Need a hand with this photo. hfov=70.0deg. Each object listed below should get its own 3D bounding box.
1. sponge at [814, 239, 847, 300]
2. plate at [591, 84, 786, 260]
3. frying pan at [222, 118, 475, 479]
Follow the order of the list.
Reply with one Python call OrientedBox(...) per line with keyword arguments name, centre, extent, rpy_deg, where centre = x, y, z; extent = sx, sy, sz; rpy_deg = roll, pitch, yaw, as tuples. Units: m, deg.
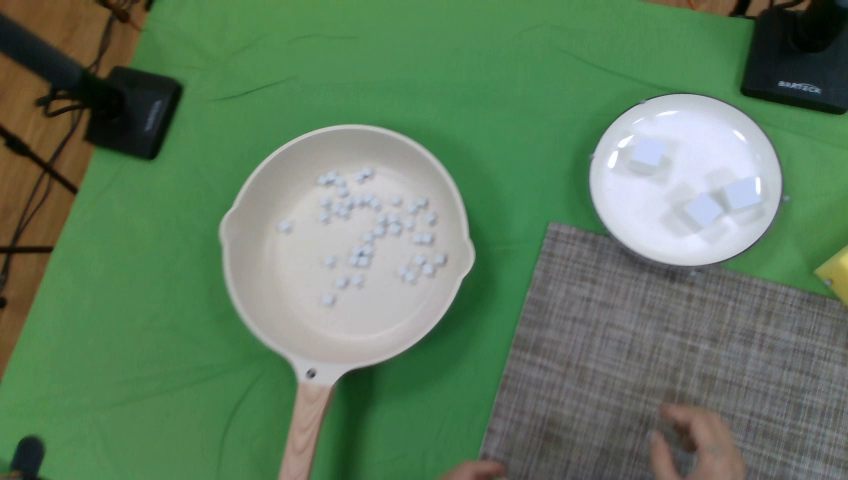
OrientedBox(name="sponge", centre=(0.532, 0.062, 0.616), extent=(0.118, 0.061, 0.205), rpy_deg=(-38, 73, -2))
OrientedBox(name="plate", centre=(0.298, -0.076, 0.699), extent=(0.207, 0.039, 0.206), rpy_deg=(-2, 78, 9))
OrientedBox(name="frying pan", centre=(-0.110, 0.097, 0.695), extent=(0.306, 0.103, 0.485), rpy_deg=(9, 71, 12))
